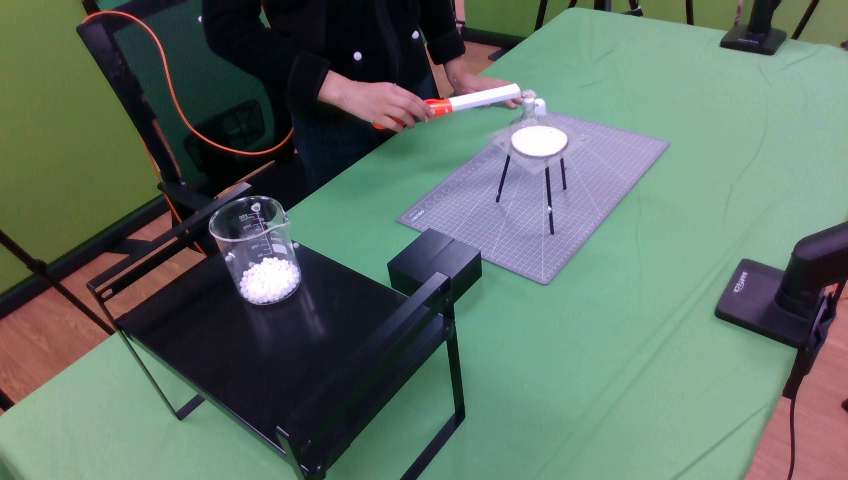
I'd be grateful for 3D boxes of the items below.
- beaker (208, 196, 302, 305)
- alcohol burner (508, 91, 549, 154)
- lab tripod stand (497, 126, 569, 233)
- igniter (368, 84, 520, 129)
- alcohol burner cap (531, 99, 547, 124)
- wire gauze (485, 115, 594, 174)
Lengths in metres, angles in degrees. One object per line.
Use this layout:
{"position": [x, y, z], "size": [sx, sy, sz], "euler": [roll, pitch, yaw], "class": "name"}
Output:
{"position": [-0.173, 0.014, 0.647], "size": [0.084, 0.101, 0.073], "euler": [-1, 41, 8], "class": "beaker"}
{"position": [0.196, -0.223, 1.134], "size": [0.078, 0.119, 0.077], "euler": [-6, 39, 5], "class": "alcohol burner"}
{"position": [0.188, -0.104, 0.978], "size": [0.148, 0.132, 0.147], "euler": [-3, 41, 3], "class": "lab tripod stand"}
{"position": [0.036, -0.241, 1.088], "size": [0.277, 0.025, 0.057], "euler": [-13, 42, -5], "class": "igniter"}
{"position": [0.234, -0.264, 1.231], "size": [0.034, 0.048, 0.033], "euler": [-5, 41, 5], "class": "alcohol burner cap"}
{"position": [0.177, -0.154, 0.935], "size": [0.122, 0.011, 0.124], "euler": [-26, 45, -21], "class": "wire gauze"}
